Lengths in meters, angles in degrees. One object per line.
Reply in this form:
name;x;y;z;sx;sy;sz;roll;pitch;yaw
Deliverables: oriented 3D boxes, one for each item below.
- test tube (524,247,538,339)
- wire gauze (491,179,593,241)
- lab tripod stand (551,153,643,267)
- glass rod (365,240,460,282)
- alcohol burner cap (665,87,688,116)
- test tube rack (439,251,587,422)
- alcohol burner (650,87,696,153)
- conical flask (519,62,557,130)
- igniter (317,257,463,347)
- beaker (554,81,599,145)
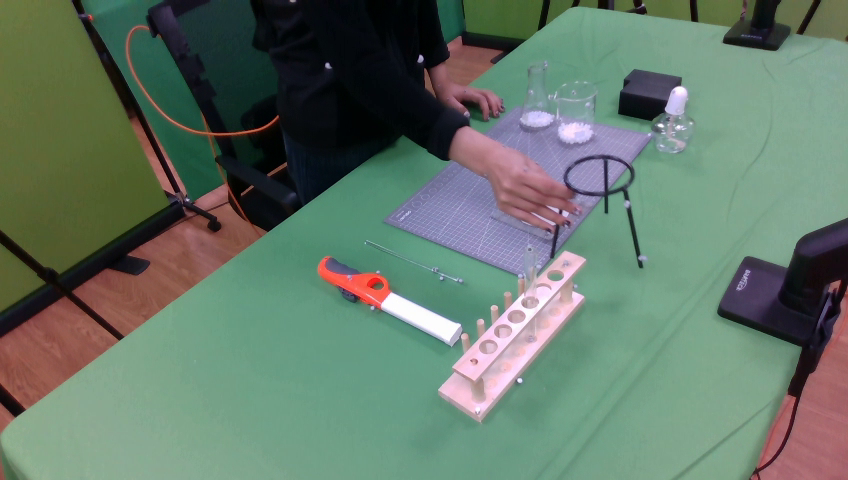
test tube;0.133;0.070;0.749;0.017;0.151;0.017;-5;38;4
wire gauze;0.198;-0.051;1.013;0.125;0.011;0.120;-38;48;-27
lab tripod stand;0.240;-0.044;0.832;0.148;0.132;0.147;-9;39;8
glass rod;-0.022;0.032;0.962;0.198;0.008;0.008;21;49;35
alcohol burner cap;0.445;-0.244;1.060;0.034;0.048;0.033;-2;45;3
test tube rack;0.118;0.111;0.780;0.066;0.085;0.243;26;51;35
alcohol burner;0.448;-0.217;1.084;0.078;0.119;0.077;-6;38;5
conical flask;0.225;-0.287;1.198;0.075;0.122;0.075;-6;40;5
igniter;-0.061;0.085;0.891;0.274;0.025;0.057;23;59;33
beaker;0.286;-0.237;1.144;0.084;0.101;0.073;-17;40;-7
